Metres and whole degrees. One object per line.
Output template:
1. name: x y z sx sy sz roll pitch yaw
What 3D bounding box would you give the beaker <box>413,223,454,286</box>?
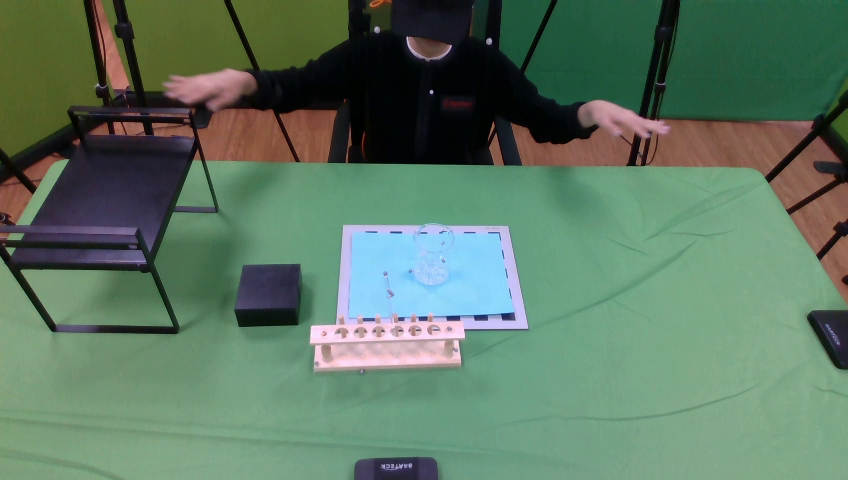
1. beaker: 0.018 0.028 1.109 0.084 0.101 0.073 -34 57 -31

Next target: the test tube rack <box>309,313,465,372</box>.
1. test tube rack: -0.059 0.161 0.990 0.242 0.085 0.066 -1 46 -5

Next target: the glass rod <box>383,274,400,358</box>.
1. glass rod: -0.049 0.122 0.936 0.008 0.201 0.008 -3 43 3
